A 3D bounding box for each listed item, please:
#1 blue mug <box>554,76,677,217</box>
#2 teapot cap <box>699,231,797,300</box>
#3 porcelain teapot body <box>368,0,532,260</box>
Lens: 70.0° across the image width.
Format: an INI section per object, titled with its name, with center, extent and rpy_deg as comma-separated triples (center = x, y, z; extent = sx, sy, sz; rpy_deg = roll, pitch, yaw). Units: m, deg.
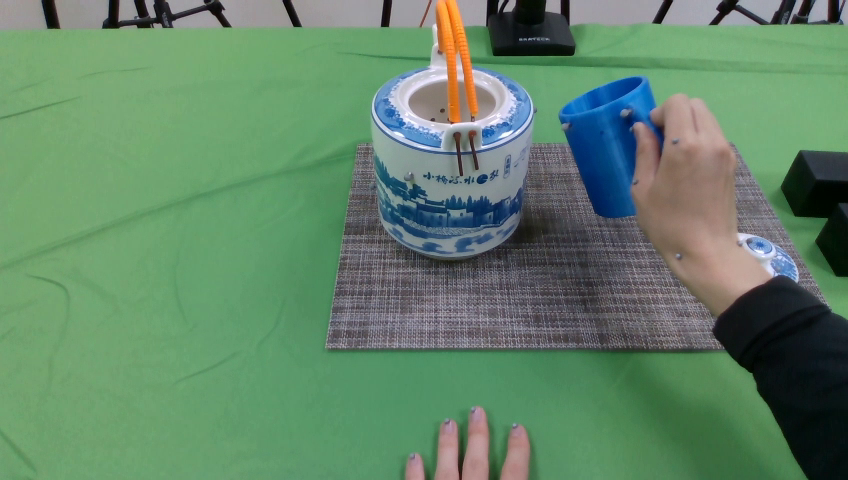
[blue mug]
center = 0.182, -0.082, 0.549
extent = 0.082, 0.106, 0.115
rpy_deg = -28, 19, -5
[teapot cap]
center = 0.298, 0.017, 0.556
extent = 0.085, 0.044, 0.084
rpy_deg = 1, 43, 0
[porcelain teapot body]
center = 0.019, -0.119, 0.569
extent = 0.145, 0.227, 0.203
rpy_deg = -6, 44, -4
